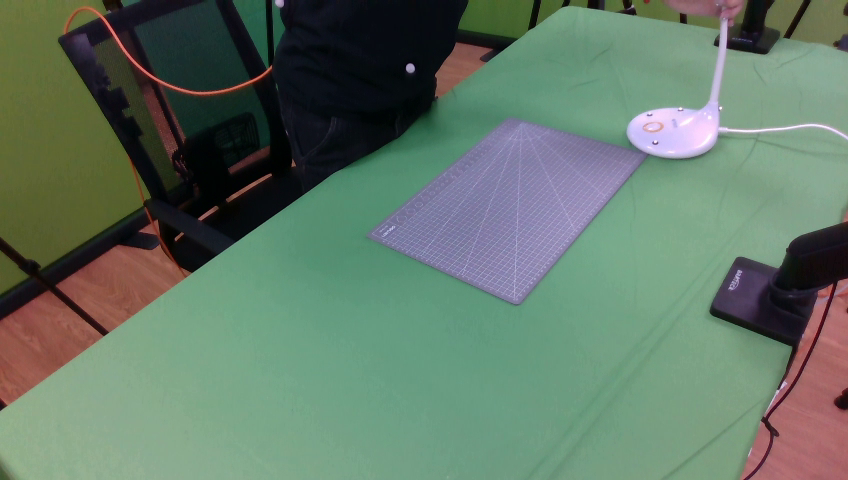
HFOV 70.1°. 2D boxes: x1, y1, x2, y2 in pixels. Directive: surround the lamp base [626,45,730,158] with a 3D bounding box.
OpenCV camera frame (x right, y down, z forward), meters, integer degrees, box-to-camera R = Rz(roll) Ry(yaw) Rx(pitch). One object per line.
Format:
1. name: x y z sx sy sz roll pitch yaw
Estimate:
1. lamp base: 0.468 -0.262 1.086 0.179 0.181 0.159 -4 41 0
